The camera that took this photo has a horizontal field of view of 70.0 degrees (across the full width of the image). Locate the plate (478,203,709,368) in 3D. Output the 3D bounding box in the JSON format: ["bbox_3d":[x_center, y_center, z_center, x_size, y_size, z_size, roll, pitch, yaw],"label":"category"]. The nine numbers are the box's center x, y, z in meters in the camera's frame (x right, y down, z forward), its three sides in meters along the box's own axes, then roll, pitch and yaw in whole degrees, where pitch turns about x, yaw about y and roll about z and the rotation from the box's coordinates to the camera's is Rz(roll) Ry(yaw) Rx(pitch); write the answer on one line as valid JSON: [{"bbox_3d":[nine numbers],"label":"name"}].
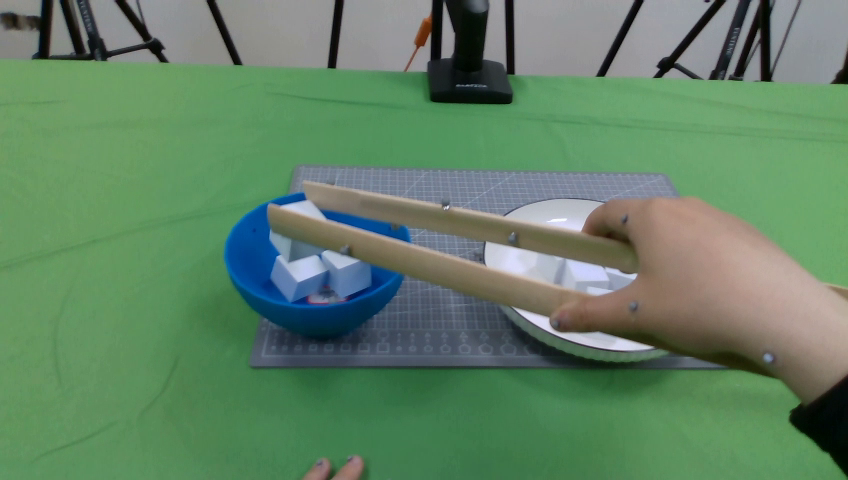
[{"bbox_3d":[0.152,0.040,0.563,0.208,0.039,0.205,3,39,-2],"label":"plate"}]

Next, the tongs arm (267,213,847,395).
[{"bbox_3d":[0.066,0.030,0.369,0.385,0.028,0.028,13,36,21],"label":"tongs arm"}]

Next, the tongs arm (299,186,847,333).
[{"bbox_3d":[0.077,0.015,0.388,0.383,0.027,0.050,11,39,18],"label":"tongs arm"}]

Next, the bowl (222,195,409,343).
[{"bbox_3d":[-0.088,0.034,0.516,0.151,0.077,0.150,3,39,-2],"label":"bowl"}]
